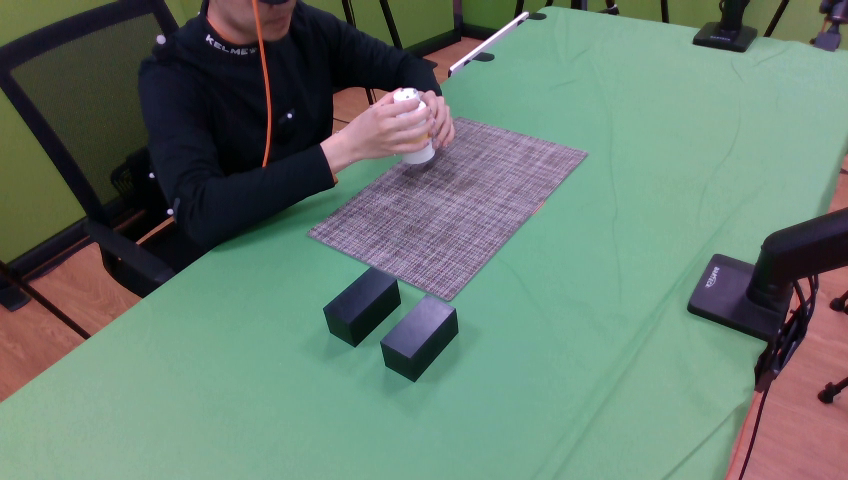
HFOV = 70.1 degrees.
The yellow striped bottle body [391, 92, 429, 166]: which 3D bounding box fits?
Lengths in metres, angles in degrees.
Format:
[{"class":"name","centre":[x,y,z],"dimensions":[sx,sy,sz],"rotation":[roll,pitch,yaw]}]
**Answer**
[{"class":"yellow striped bottle body","centre":[-0.024,-0.197,1.065],"dimensions":[0.063,0.120,0.062],"rotation":[-2,34,2]}]

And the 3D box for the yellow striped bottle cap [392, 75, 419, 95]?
[{"class":"yellow striped bottle cap","centre":[-0.031,-0.261,1.018],"dimensions":[0.044,0.019,0.044],"rotation":[-10,31,7]}]
